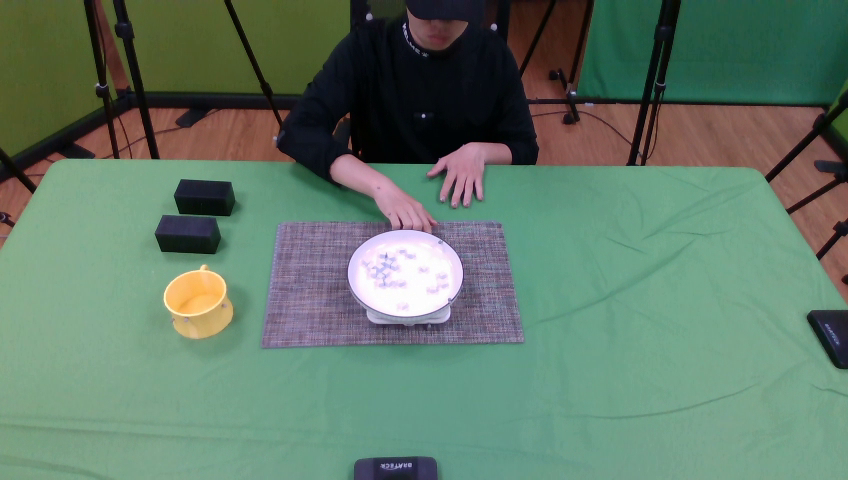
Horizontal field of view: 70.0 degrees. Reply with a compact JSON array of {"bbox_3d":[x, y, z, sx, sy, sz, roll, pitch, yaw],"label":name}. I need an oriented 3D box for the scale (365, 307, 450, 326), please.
[{"bbox_3d":[-0.032,0.071,1.113,0.149,0.032,0.199,0,46,-4],"label":"scale"}]

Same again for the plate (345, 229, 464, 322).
[{"bbox_3d":[-0.034,0.065,1.073,0.209,0.038,0.208,2,46,-2],"label":"plate"}]

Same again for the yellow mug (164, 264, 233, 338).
[{"bbox_3d":[-0.384,0.097,1.044,0.100,0.064,0.130,-1,45,-5],"label":"yellow mug"}]
